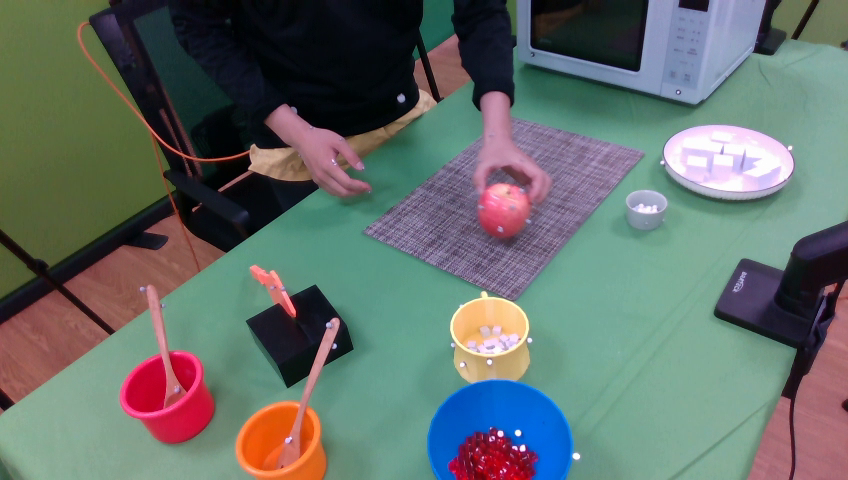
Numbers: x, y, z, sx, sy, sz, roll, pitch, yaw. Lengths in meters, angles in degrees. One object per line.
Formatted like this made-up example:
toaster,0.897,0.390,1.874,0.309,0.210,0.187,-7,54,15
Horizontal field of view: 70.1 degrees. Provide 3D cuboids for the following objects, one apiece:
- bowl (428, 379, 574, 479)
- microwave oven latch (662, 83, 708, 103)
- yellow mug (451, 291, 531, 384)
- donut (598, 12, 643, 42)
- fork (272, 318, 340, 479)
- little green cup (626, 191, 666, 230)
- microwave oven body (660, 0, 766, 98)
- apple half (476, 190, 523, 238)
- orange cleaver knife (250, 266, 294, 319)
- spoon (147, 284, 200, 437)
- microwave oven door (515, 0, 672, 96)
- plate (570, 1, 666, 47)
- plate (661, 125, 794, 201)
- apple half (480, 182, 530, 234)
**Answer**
bowl,0.082,0.233,0.644,0.151,0.077,0.150,-4,39,4
microwave oven latch,0.518,-0.296,1.204,0.078,0.029,0.030,27,52,35
yellow mug,0.085,0.120,0.786,0.100,0.064,0.130,-7,39,1
donut,0.437,-0.474,1.346,0.099,0.048,0.098,-17,24,8
fork,-0.131,0.186,0.676,0.028,0.019,0.207,18,90,28
little green cup,0.352,-0.046,0.963,0.061,0.039,0.061,-4,40,4
microwave oven body,0.473,-0.514,1.317,0.438,0.261,0.327,26,51,34
apple half,0.105,-0.031,0.896,0.080,0.081,0.033,20,41,28
orange cleaver knife,-0.221,0.073,0.876,0.012,0.077,0.210,-24,12,-22
spoon,-0.318,0.148,0.754,0.042,0.021,0.193,-14,85,-11
microwave oven door,0.343,-0.455,1.259,0.353,0.245,0.039,26,51,33
plate,0.437,-0.485,1.370,0.209,0.038,0.208,-4,41,4
plate,0.513,-0.128,1.035,0.207,0.039,0.206,-4,40,4
apple half,0.128,-0.052,0.923,0.080,0.075,0.053,23,43,30
